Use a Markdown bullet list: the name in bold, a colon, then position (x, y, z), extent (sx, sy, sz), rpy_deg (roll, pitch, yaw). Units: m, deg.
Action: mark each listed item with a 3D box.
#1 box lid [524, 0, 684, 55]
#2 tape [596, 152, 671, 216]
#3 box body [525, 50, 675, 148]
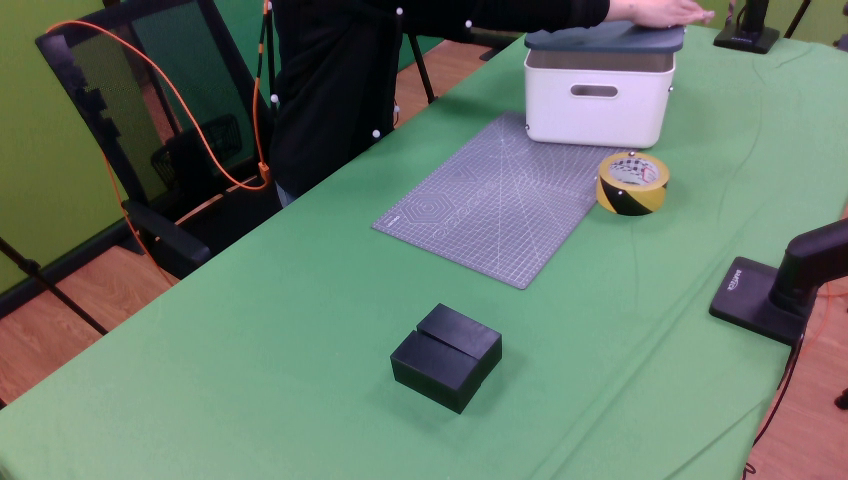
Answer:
- **box lid**: position (0.348, -0.425, 1.136), extent (0.262, 0.015, 0.371), rpy_deg (7, 40, 18)
- **tape**: position (0.349, -0.095, 1.009), extent (0.117, 0.053, 0.116), rpy_deg (-3, 42, 3)
- **box body**: position (0.356, -0.342, 1.212), extent (0.253, 0.161, 0.363), rpy_deg (7, 42, 17)
